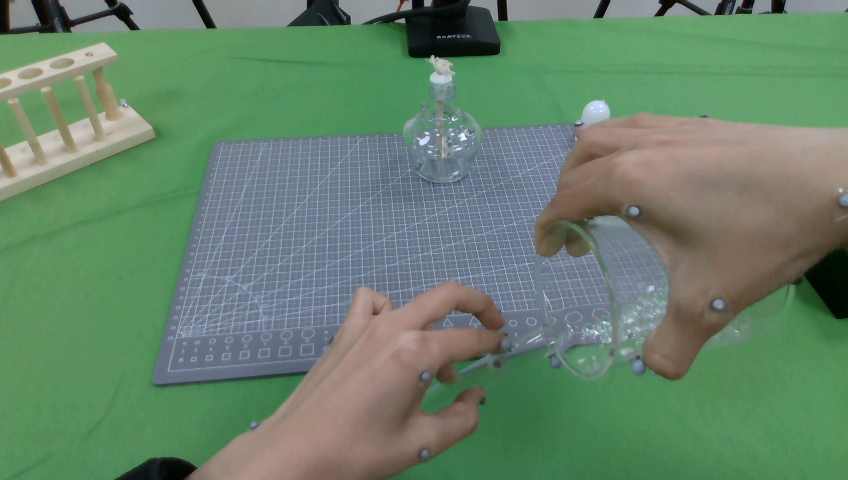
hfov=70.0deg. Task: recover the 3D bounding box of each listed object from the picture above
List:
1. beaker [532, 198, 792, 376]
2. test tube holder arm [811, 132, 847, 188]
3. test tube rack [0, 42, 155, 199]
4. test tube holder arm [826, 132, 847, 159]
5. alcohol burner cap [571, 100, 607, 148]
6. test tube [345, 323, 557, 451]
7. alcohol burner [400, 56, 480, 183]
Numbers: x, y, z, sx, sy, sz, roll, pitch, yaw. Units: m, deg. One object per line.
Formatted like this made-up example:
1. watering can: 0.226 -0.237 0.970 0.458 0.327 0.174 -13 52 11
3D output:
1. beaker: 0.113 0.021 0.294 0.100 0.084 0.073 -9 57 -14
2. test tube holder arm: 0.366 -0.065 0.531 0.010 0.015 0.087 -6 44 4
3. test tube rack: -0.398 -0.101 0.575 0.242 0.086 0.066 -32 53 -29
4. test tube holder arm: 0.373 -0.034 0.498 0.013 0.015 0.176 -7 44 4
5. alcohol burner cap: 0.174 -0.124 0.635 0.034 0.048 0.033 1 44 0
6. test tube: 0.010 0.087 0.345 0.150 0.017 0.017 -35 38 25
7. alcohol burner: 0.015 -0.115 0.572 0.078 0.120 0.077 -1 43 1
